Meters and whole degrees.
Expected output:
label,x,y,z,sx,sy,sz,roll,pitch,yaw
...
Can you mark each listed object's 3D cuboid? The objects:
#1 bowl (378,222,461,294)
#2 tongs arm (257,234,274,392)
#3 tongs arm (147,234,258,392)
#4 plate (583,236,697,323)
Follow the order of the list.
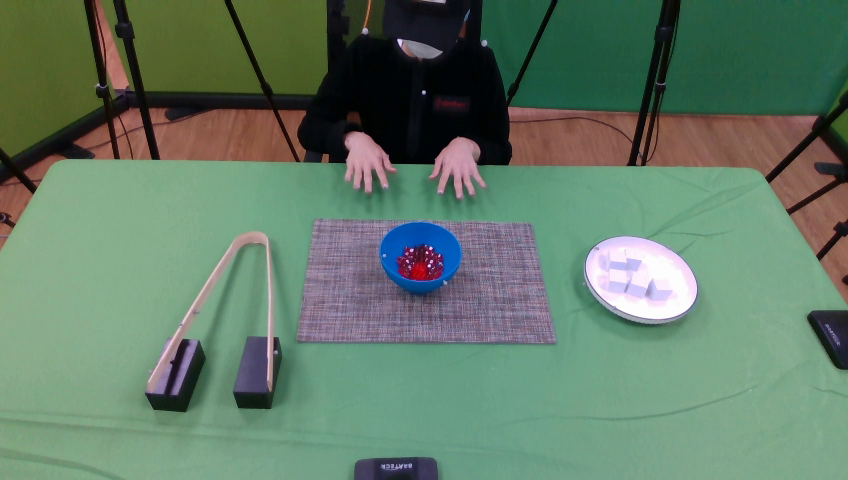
label,x,y,z,sx,sy,sz,roll,pitch,yaw
bowl,-0.010,0.046,1.110,0.151,0.077,0.150,2,46,-2
tongs arm,-0.269,0.105,1.025,0.028,0.028,0.385,-9,36,-9
tongs arm,-0.358,0.103,1.018,0.051,0.026,0.382,3,34,2
plate,0.403,0.078,1.144,0.209,0.038,0.208,2,45,-2
